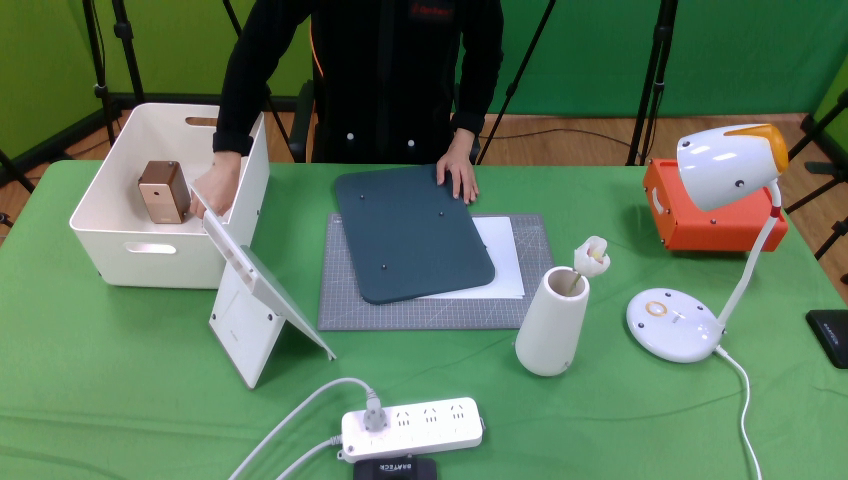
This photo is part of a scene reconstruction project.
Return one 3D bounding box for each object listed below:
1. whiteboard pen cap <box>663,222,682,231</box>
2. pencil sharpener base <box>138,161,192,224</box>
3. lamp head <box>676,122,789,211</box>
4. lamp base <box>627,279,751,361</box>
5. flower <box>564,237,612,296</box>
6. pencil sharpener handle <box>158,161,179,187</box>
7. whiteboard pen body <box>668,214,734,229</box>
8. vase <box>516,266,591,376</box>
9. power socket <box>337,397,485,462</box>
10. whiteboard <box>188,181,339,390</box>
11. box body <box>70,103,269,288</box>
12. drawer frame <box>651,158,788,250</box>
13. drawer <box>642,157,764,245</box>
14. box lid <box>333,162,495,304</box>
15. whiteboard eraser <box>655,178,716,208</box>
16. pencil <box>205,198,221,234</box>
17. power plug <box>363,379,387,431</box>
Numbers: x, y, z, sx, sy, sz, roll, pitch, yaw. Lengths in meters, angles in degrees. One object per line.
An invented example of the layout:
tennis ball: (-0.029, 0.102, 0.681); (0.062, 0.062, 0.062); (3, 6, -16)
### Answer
whiteboard pen cap: (0.487, -0.027, 1.188); (0.033, 0.018, 0.018); (0, 46, -15)
pencil sharpener base: (-0.502, -0.093, 1.181); (0.061, 0.107, 0.076); (0, 45, -2)
lamp head: (0.423, -0.104, 0.819); (0.122, 0.113, 0.112); (-13, 33, 40)
lamp base: (0.459, 0.100, 1.027); (0.178, 0.181, 0.160); (27, 51, 17)
flower: (0.206, 0.088, 0.893); (0.038, 0.363, 0.044); (-16, 67, -9)
pencil sharpener handle: (-0.503, -0.138, 1.208); (0.036, 0.068, 0.030); (3, 45, -4)
whiteboard pen body: (0.547, -0.035, 1.200); (0.141, 0.017, 0.017); (-8, 48, -9)
vase: (0.208, 0.132, 0.964); (0.098, 0.201, 0.097); (3, 46, -3)
power socket: (-0.018, 0.285, 0.915); (0.227, 0.033, 0.071); (-5, 46, -8)
whiteboard: (-0.292, 0.096, 0.929); (0.144, 0.307, 0.216); (-38, 57, -11)
box body: (-0.450, -0.087, 1.148); (0.254, 0.161, 0.361); (2, 46, -2)
drawer frame: (0.571, -0.074, 1.213); (0.214, 0.083, 0.200); (1, 46, 0)
drawer: (0.564, -0.075, 1.210); (0.212, 0.073, 0.193); (3, 45, -1)
box lid: (-0.031, -0.028, 1.228); (0.264, 0.015, 0.369); (-10, 47, -13)
whiteboard eraser: (0.538, -0.095, 1.251); (0.113, 0.042, 0.055); (4, 52, -10)
pencil: (-0.420, -0.018, 1.180); (0.012, 0.012, 0.193); (3, 45, -1)
power plug: (-0.072, 0.252, 0.910); (0.035, 0.053, 0.072); (3, 45, -1)
